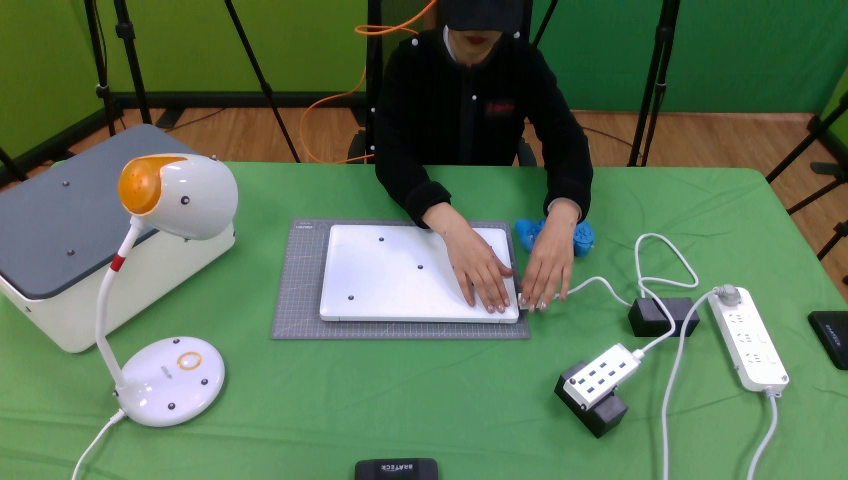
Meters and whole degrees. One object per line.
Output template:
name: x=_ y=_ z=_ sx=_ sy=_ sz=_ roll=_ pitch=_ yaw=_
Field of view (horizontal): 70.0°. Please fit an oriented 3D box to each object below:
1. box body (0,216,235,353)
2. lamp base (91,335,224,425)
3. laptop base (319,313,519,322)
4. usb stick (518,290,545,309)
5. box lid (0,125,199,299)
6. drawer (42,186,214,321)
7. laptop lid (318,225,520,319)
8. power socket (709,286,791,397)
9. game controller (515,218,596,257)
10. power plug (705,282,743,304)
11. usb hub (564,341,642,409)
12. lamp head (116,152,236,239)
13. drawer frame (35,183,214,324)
box body: x=-0.550 y=-0.007 z=1.068 sx=0.253 sy=0.161 sz=0.363 roll=30 pitch=51 yaw=23
lamp base: x=-0.401 y=0.170 z=0.892 sx=0.160 sy=0.181 sz=0.179 roll=30 pitch=53 yaw=23
laptop base: x=-0.009 y=0.063 z=1.138 sx=0.354 sy=0.023 sz=0.234 roll=1 pitch=42 yaw=-3
usb stick: x=0.186 y=0.108 z=1.086 sx=0.059 sy=0.027 sz=0.021 roll=-8 pitch=45 yaw=0
box lid: x=-0.540 y=-0.068 z=1.016 sx=0.262 sy=0.015 sz=0.371 roll=30 pitch=51 yaw=23
drawer: x=-0.529 y=0.018 z=1.097 sx=0.194 sy=0.073 sz=0.211 roll=29 pitch=53 yaw=20
laptop lid: x=-0.009 y=0.053 z=1.130 sx=0.357 sy=0.013 sz=0.240 roll=3 pitch=43 yaw=-2
power socket: x=0.567 y=0.167 z=1.064 sx=0.072 sy=0.033 sz=0.225 roll=2 pitch=46 yaw=-1
game controller: x=0.266 y=-0.014 z=1.213 sx=0.155 sy=0.052 sz=0.096 roll=0 pitch=50 yaw=-3
power plug: x=0.539 y=0.097 z=1.098 sx=0.072 sy=0.053 sz=0.035 roll=8 pitch=47 yaw=8
usb hub: x=0.278 y=0.208 z=0.942 sx=0.125 sy=0.025 sz=0.049 roll=-27 pitch=52 yaw=-28
lamp head: x=-0.315 y=-0.057 z=0.748 sx=0.112 sy=0.112 sz=0.123 roll=26 pitch=10 yaw=20
drawer frame: x=-0.531 y=0.018 z=1.092 sx=0.201 sy=0.083 sz=0.213 roll=29 pitch=52 yaw=21
